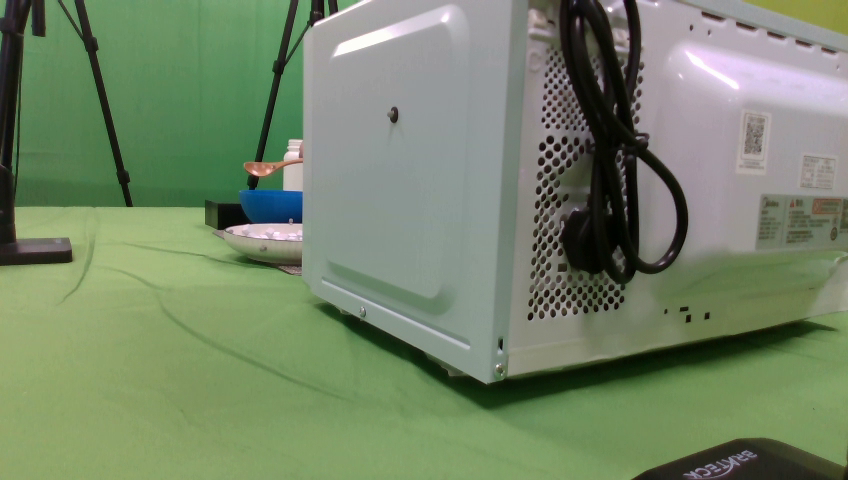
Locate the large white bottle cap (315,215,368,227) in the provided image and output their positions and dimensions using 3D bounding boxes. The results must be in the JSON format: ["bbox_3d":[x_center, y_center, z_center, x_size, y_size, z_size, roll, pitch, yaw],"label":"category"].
[{"bbox_3d":[-0.178,-0.041,1.308,0.115,0.018,0.115,2,6,0],"label":"large white bottle cap"}]

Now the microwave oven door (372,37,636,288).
[{"bbox_3d":[0.110,-0.080,0.686,0.358,0.243,0.039,-2,9,-33],"label":"microwave oven door"}]

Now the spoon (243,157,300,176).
[{"bbox_3d":[-0.258,-0.151,1.180,0.195,0.021,0.041,-16,52,-32],"label":"spoon"}]

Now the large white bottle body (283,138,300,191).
[{"bbox_3d":[-0.265,-0.143,1.423,0.131,0.184,0.130,2,7,0],"label":"large white bottle body"}]

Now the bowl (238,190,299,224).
[{"bbox_3d":[-0.245,-0.045,1.052,0.151,0.077,0.151,3,7,0],"label":"bowl"}]

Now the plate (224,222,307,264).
[{"bbox_3d":[-0.171,0.004,0.849,0.209,0.038,0.209,2,7,0],"label":"plate"}]

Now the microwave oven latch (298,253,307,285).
[{"bbox_3d":[-0.081,0.027,0.582,0.079,0.029,0.030,-1,7,-32],"label":"microwave oven latch"}]

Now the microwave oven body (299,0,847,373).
[{"bbox_3d":[0.151,-0.055,0.542,0.444,0.260,0.324,-2,7,-33],"label":"microwave oven body"}]
